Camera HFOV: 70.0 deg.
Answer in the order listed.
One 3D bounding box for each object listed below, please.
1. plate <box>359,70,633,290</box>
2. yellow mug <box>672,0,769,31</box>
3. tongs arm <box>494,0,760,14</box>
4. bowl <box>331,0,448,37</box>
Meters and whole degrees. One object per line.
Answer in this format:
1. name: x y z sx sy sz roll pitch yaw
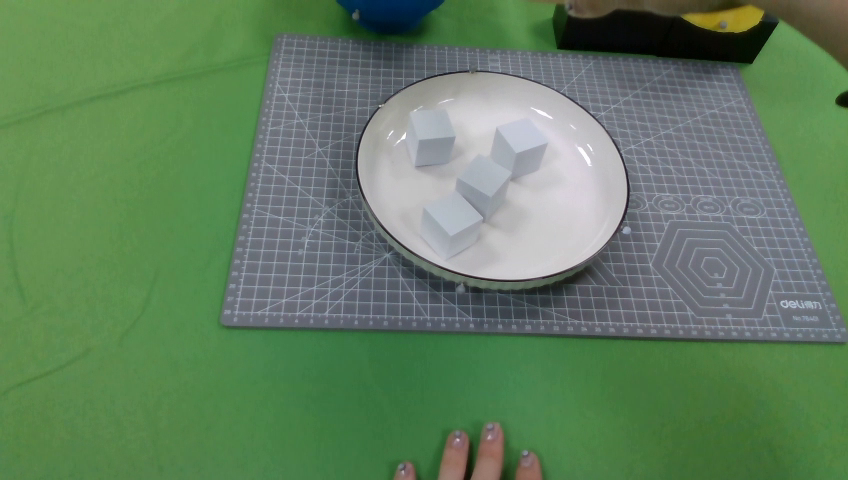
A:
1. plate: 0.054 -0.048 0.472 0.208 0.039 0.205 3 57 -4
2. yellow mug: 0.260 -0.244 0.547 0.131 0.064 0.099 -12 58 -12
3. tongs arm: 0.040 -0.183 0.414 0.028 0.028 0.383 -43 41 -15
4. bowl: -0.034 -0.249 0.574 0.151 0.077 0.150 2 57 -3
